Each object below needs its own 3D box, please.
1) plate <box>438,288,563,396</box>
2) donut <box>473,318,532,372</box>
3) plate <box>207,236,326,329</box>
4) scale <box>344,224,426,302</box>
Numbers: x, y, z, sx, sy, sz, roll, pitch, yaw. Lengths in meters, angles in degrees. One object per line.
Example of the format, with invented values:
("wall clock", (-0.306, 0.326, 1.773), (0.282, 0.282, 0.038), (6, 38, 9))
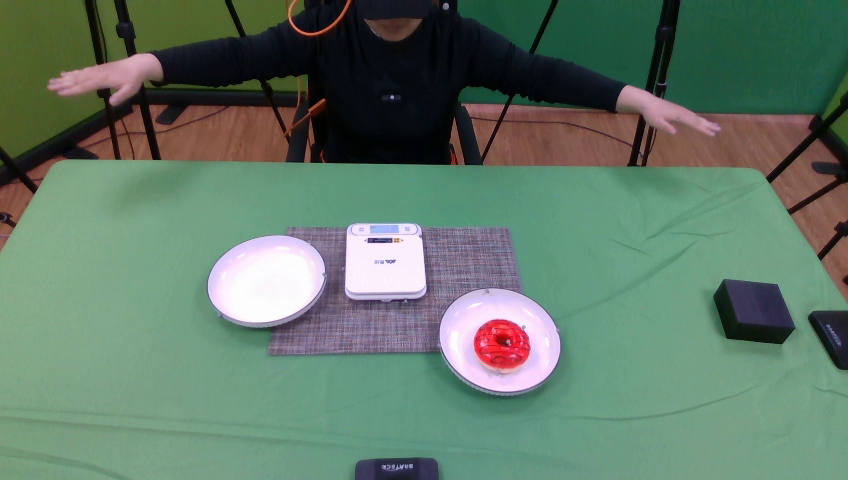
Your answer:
("plate", (0.127, 0.173, 1.025), (0.209, 0.038, 0.208), (3, 48, -3))
("donut", (0.131, 0.174, 1.010), (0.099, 0.048, 0.098), (1, 48, -1))
("plate", (-0.278, 0.078, 1.088), (0.208, 0.039, 0.206), (1, 46, 0))
("scale", (-0.075, 0.033, 1.149), (0.149, 0.032, 0.199), (0, 46, -5))
